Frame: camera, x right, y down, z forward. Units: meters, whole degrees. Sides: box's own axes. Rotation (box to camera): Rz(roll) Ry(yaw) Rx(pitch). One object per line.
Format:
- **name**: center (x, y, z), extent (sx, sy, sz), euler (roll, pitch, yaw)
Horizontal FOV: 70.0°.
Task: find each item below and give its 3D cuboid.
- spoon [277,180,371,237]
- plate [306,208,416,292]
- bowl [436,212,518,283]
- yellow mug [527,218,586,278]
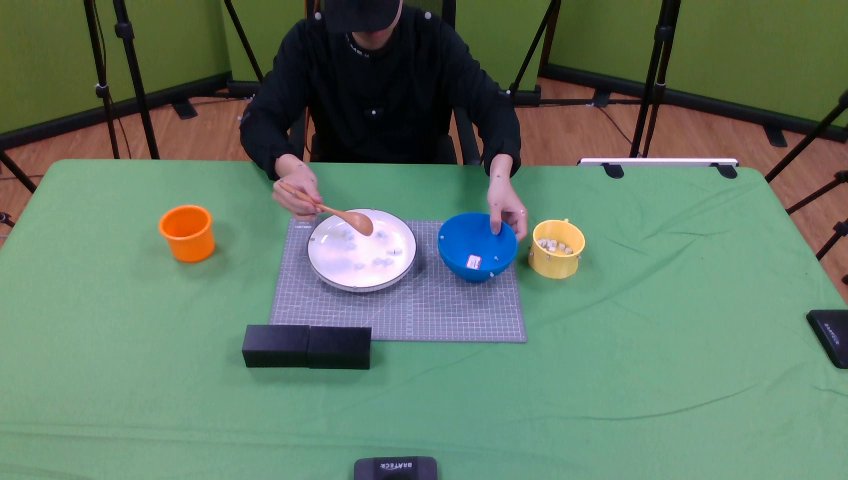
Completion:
- **spoon**: center (-0.177, -0.057, 1.088), extent (0.194, 0.021, 0.041), euler (25, 56, -20)
- **plate**: center (-0.119, 0.021, 1.153), extent (0.209, 0.038, 0.208), euler (2, 46, -2)
- **bowl**: center (0.095, 0.026, 1.137), extent (0.151, 0.077, 0.150), euler (2, 46, -2)
- **yellow mug**: center (0.261, 0.006, 1.181), extent (0.100, 0.064, 0.130), euler (18, 47, 14)
